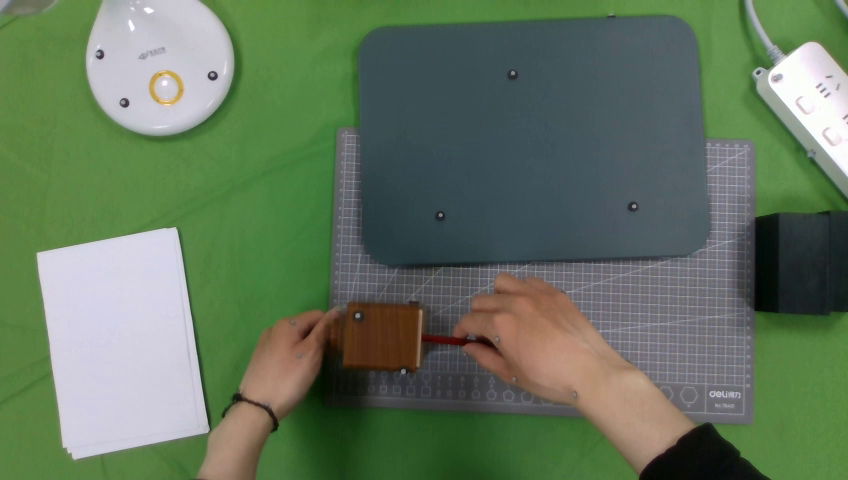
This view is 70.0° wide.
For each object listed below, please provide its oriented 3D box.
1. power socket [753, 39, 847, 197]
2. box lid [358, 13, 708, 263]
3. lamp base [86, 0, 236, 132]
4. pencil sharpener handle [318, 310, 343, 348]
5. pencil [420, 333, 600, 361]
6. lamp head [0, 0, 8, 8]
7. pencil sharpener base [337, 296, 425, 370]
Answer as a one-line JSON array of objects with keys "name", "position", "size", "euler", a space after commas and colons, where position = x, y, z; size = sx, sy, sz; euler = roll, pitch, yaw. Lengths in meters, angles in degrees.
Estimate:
[{"name": "power socket", "position": [0.444, -0.111, 0.635], "size": [0.072, 0.032, 0.226], "euler": [-38, 86, -1]}, {"name": "box lid", "position": [0.116, -0.110, 0.652], "size": [0.371, 0.015, 0.262], "euler": [-2, 86, 1]}, {"name": "lamp base", "position": [-0.294, -0.213, 0.582], "size": [0.160, 0.180, 0.178], "euler": [-29, 83, -1]}, {"name": "pencil sharpener handle", "position": [-0.091, 0.087, 0.582], "size": [0.030, 0.068, 0.036], "euler": [3, 76, 2]}, {"name": "pencil", "position": [0.069, 0.099, 0.569], "size": [0.194, 0.012, 0.012], "euler": [6, 86, -1]}, {"name": "lamp head", "position": [-0.262, -0.190, 0.306], "size": [0.112, 0.124, 0.111], "euler": [-21, 51, 29]}, {"name": "pencil sharpener base", "position": [-0.040, 0.088, 0.594], "size": [0.076, 0.107, 0.061], "euler": [4, 86, 2]}]
